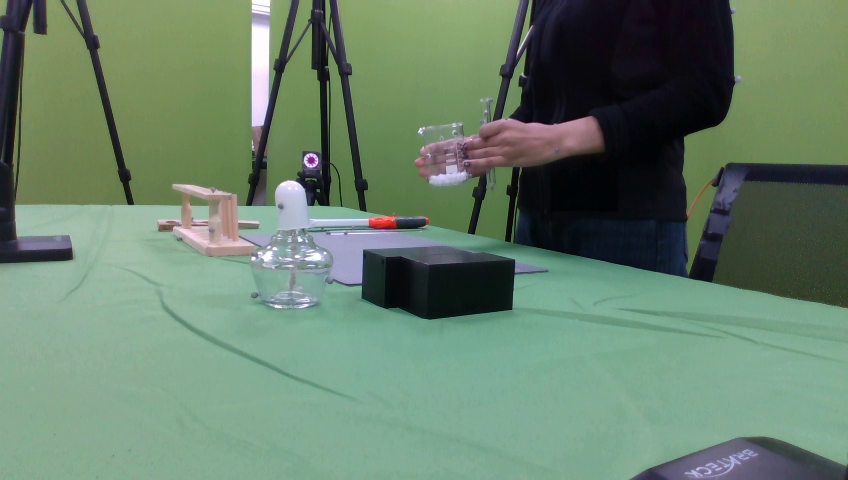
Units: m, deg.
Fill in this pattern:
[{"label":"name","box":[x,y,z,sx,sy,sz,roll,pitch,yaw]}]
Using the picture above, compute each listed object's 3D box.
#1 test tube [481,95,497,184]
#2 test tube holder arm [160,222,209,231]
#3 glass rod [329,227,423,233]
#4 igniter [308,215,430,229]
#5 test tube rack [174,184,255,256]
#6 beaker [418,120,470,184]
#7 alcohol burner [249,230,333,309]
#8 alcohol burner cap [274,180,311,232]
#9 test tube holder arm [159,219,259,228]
[{"label":"test tube","box":[0.108,-0.164,1.001,0.017,0.150,0.017,-6,26,3]},{"label":"test tube holder arm","box":[-0.423,-0.024,1.075,0.088,0.015,0.010,-3,44,-38]},{"label":"glass rod","box":[-0.087,-0.019,1.148,0.201,0.008,0.008,-3,8,-32]},{"label":"igniter","box":[-0.109,-0.037,1.228,0.278,0.025,0.057,-3,-1,-35]},{"label":"test tube rack","box":[-0.327,-0.036,0.928,0.067,0.085,0.241,-2,9,-32]},{"label":"beaker","box":[0.035,-0.147,1.015,0.084,0.100,0.073,-13,13,-23]},{"label":"alcohol burner","box":[-0.125,0.004,0.568,0.078,0.119,0.078,2,10,0]},{"label":"alcohol burner cap","box":[-0.125,-0.032,0.563,0.034,0.048,0.034,-5,6,1]},{"label":"test tube holder arm","box":[-0.390,-0.030,1.107,0.179,0.015,0.013,-3,44,-39]}]
